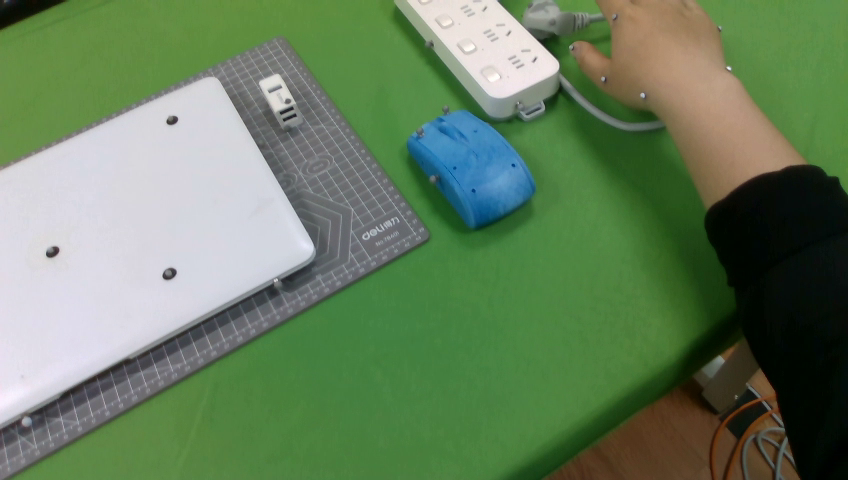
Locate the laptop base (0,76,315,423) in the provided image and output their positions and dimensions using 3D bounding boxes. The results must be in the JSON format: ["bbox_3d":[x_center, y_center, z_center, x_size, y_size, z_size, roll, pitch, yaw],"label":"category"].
[{"bbox_3d":[-0.287,0.012,0.486,0.354,0.023,0.233,-29,62,-11],"label":"laptop base"}]

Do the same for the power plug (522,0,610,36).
[{"bbox_3d":[0.127,-0.207,0.567,0.073,0.035,0.052,0,32,-18],"label":"power plug"}]

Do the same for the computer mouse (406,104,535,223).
[{"bbox_3d":[0.034,-0.067,0.483,0.063,0.041,0.116,-30,55,-8],"label":"computer mouse"}]

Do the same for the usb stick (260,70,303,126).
[{"bbox_3d":[-0.132,-0.133,0.549,0.021,0.027,0.058,-28,56,-8],"label":"usb stick"}]

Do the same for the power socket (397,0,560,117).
[{"bbox_3d":[0.044,-0.198,0.566,0.072,0.033,0.224,-27,59,-9],"label":"power socket"}]

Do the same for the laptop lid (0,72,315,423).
[{"bbox_3d":[-0.287,0.008,0.475,0.357,0.013,0.239,-27,61,-10],"label":"laptop lid"}]
